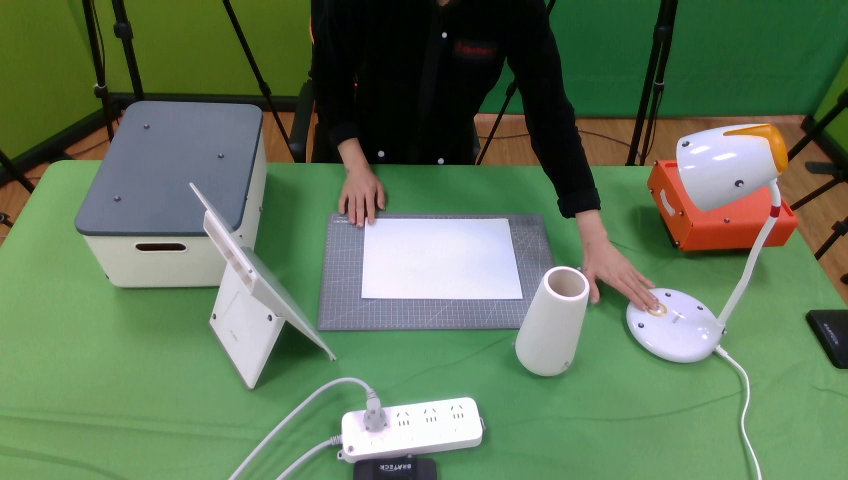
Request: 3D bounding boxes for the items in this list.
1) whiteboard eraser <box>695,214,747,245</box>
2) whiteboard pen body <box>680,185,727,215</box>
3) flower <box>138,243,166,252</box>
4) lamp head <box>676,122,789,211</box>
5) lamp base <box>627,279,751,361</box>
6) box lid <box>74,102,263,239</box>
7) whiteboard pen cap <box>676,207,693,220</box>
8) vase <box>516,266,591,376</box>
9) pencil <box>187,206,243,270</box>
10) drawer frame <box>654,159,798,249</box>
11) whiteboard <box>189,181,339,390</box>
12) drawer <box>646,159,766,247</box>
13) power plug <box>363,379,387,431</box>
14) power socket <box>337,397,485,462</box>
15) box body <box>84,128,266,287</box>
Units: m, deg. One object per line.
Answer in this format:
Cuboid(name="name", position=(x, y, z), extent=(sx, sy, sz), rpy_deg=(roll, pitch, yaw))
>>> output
Cuboid(name="whiteboard eraser", position=(0.592, -0.019, 1.211), extent=(0.113, 0.042, 0.055), rpy_deg=(11, 27, -36))
Cuboid(name="whiteboard pen body", position=(0.570, -0.081, 1.239), extent=(0.141, 0.017, 0.017), rpy_deg=(-26, 54, -23))
Cuboid(name="flower", position=(-0.443, -0.044, 1.193), extent=(0.044, 0.038, 0.361), rpy_deg=(45, 47, -6))
Cuboid(name="lamp head", position=(0.423, -0.104, 0.819), extent=(0.122, 0.113, 0.112), rpy_deg=(-13, 33, 40))
Cuboid(name="lamp base", position=(0.459, 0.100, 1.027), extent=(0.178, 0.181, 0.160), rpy_deg=(27, 51, 17))
Cuboid(name="box lid", position=(-0.443, -0.138, 1.094), extent=(0.263, 0.015, 0.369), rpy_deg=(0, 46, -5))
Cuboid(name="whiteboard pen cap", position=(0.523, -0.053, 1.216), extent=(0.033, 0.018, 0.018), rpy_deg=(-28, 54, -24))
Cuboid(name="vase", position=(0.208, 0.132, 0.965), extent=(0.098, 0.201, 0.097), rpy_deg=(3, 46, -3))
Cuboid(name="pencil", position=(-0.401, -0.008, 1.176), extent=(0.012, 0.012, 0.193), rpy_deg=(15, 44, 10))
Cuboid(name="drawer frame", position=(0.588, -0.077, 1.219), extent=(0.214, 0.083, 0.200), rpy_deg=(-2, 45, -5))
Cuboid(name="whiteboard", position=(-0.292, 0.096, 0.929), extent=(0.144, 0.307, 0.216), rpy_deg=(-37, 57, -10))
Cuboid(name="drawer", position=(0.582, -0.078, 1.216), extent=(0.212, 0.073, 0.193), rpy_deg=(-1, 46, -6))
Cuboid(name="power plug", position=(-0.072, 0.252, 0.910), extent=(0.035, 0.053, 0.072), rpy_deg=(3, 45, -1))
Cuboid(name="power socket", position=(-0.018, 0.285, 0.915), extent=(0.227, 0.033, 0.071), rpy_deg=(-5, 46, -8))
Cuboid(name="box body", position=(-0.447, -0.088, 1.150), extent=(0.254, 0.161, 0.361), rpy_deg=(-1, 46, -5))
